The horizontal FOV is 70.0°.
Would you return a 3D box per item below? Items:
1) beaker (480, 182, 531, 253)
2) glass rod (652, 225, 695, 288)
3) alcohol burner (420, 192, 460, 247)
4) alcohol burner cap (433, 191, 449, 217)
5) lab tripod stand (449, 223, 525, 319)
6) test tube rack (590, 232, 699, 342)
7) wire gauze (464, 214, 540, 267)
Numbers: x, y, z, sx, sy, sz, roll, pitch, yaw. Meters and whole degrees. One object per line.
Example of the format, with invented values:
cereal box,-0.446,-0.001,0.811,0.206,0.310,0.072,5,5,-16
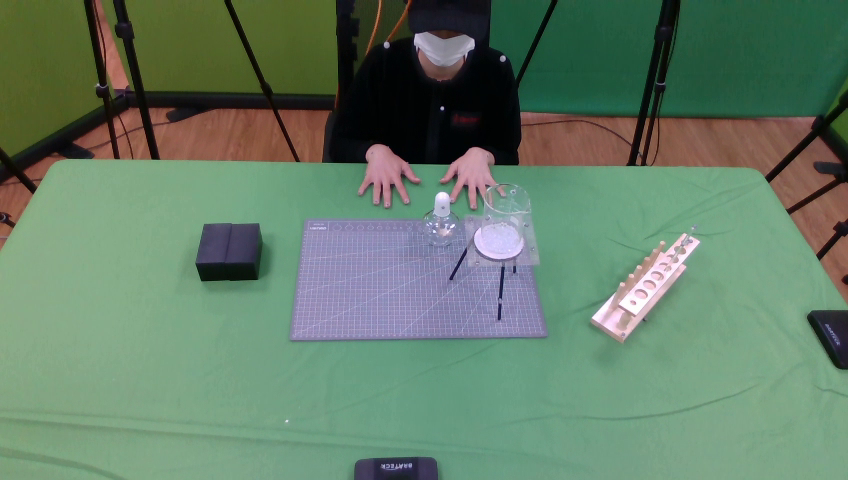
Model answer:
beaker,0.133,-0.033,0.998,0.083,0.101,0.074,26,51,22
glass rod,0.432,0.037,1.057,0.008,0.200,0.008,1,54,-1
alcohol burner,0.032,-0.045,1.176,0.078,0.120,0.077,2,44,-1
alcohol burner cap,0.033,-0.070,1.150,0.034,0.048,0.033,0,45,0
lab tripod stand,0.120,0.046,1.080,0.148,0.132,0.147,1,47,-1
test tube rack,0.407,0.074,1.112,0.066,0.085,0.242,35,53,26
wire gauze,0.131,-0.001,1.035,0.121,0.011,0.124,1,44,-2
